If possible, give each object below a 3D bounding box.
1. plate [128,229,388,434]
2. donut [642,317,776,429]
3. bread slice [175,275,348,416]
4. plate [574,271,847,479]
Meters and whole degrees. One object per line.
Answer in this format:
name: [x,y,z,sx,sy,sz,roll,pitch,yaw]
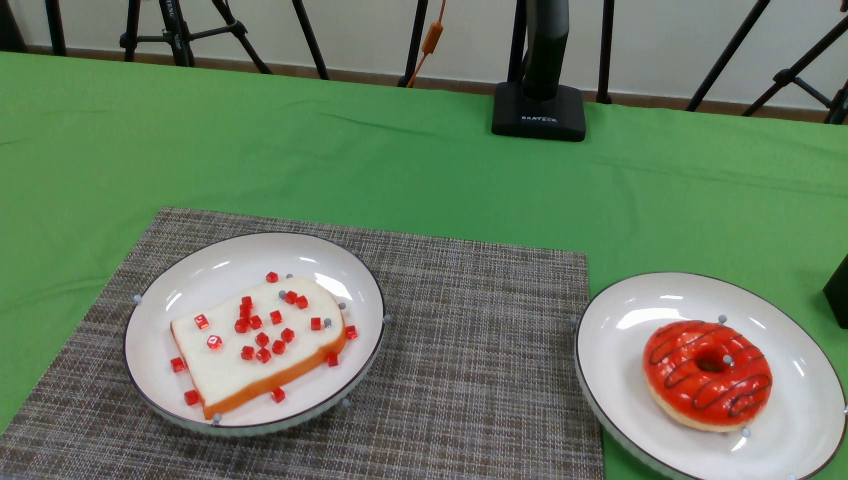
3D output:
plate: [-0.135,0.073,0.512,0.209,0.038,0.207,1,44,-1]
donut: [0.225,0.104,0.484,0.099,0.049,0.098,0,44,1]
bread slice: [-0.133,0.077,0.511,0.132,0.019,0.103,-23,50,-24]
plate: [0.224,0.112,0.493,0.208,0.039,0.205,2,43,-1]
